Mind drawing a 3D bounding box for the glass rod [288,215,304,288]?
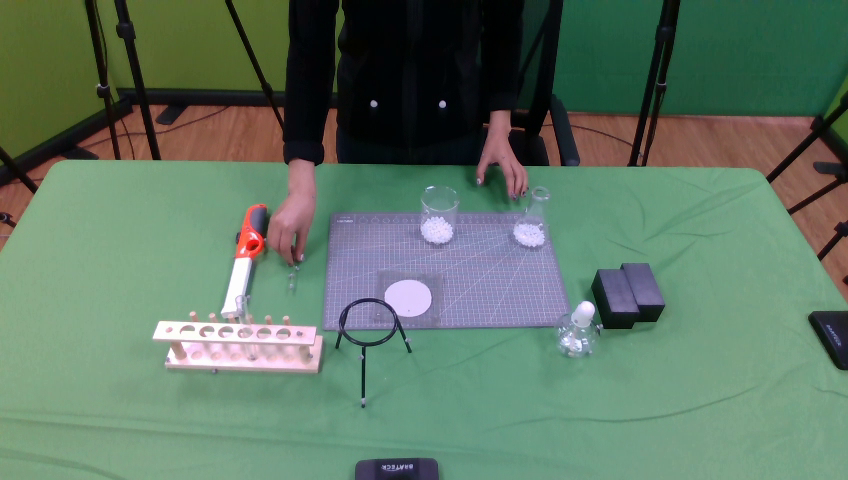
[{"bbox_3d":[-0.247,0.018,1.172,0.008,0.008,0.198,1,43,-3],"label":"glass rod"}]

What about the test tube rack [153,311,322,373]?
[{"bbox_3d":[-0.293,0.160,0.978,0.242,0.085,0.066,3,46,-2],"label":"test tube rack"}]

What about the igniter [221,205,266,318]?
[{"bbox_3d":[-0.337,0.030,1.140,0.057,0.025,0.274,-5,46,3],"label":"igniter"}]

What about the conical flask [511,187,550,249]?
[{"bbox_3d":[0.217,-0.048,1.190,0.075,0.122,0.075,2,46,-2],"label":"conical flask"}]

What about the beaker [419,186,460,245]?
[{"bbox_3d":[0.025,-0.047,1.190,0.074,0.101,0.083,-29,54,-28],"label":"beaker"}]

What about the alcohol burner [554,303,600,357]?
[{"bbox_3d":[0.260,0.143,1.018,0.078,0.119,0.077,3,44,-3],"label":"alcohol burner"}]

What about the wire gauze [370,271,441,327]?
[{"bbox_3d":[-0.032,0.103,1.104,0.125,0.011,0.121,4,46,3],"label":"wire gauze"}]

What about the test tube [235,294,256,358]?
[{"bbox_3d":[-0.274,0.136,0.933,0.017,0.151,0.017,4,45,-4],"label":"test tube"}]

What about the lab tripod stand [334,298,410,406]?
[{"bbox_3d":[-0.086,0.164,0.957,0.148,0.132,0.147,3,44,-2],"label":"lab tripod stand"}]

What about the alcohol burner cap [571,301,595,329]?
[{"bbox_3d":[0.262,0.120,0.991,0.034,0.048,0.033,1,52,-2],"label":"alcohol burner cap"}]
